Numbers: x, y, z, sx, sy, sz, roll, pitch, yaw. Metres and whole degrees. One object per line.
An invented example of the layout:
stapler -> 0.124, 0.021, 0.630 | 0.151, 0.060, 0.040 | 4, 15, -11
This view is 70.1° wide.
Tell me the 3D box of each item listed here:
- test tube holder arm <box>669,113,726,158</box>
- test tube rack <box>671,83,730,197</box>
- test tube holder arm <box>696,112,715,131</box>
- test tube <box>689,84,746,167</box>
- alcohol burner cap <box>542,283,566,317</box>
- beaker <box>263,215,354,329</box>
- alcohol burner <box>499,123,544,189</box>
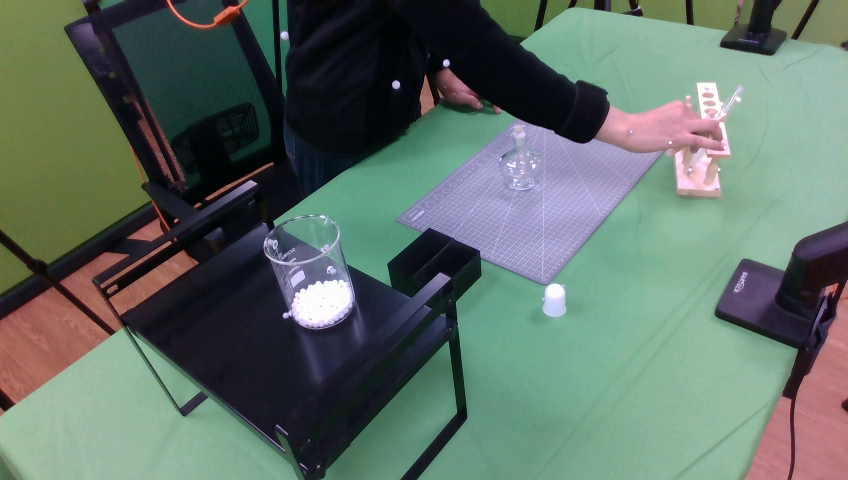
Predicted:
test tube holder arm -> 0.421, -0.162, 0.926 | 0.013, 0.015, 0.179 | 21, 39, 40
test tube rack -> 0.482, -0.184, 1.067 | 0.066, 0.085, 0.242 | 6, 42, 15
test tube holder arm -> 0.446, -0.183, 0.957 | 0.010, 0.015, 0.088 | 14, 36, 32
test tube -> 0.484, -0.187, 1.005 | 0.017, 0.150, 0.017 | 20, 25, -10
alcohol burner cap -> 0.182, 0.081, 0.839 | 0.034, 0.048, 0.033 | -4, 41, 4
beaker -> -0.112, 0.034, 0.616 | 0.073, 0.101, 0.084 | 13, 44, 23
alcohol burner -> 0.169, -0.149, 1.048 | 0.078, 0.119, 0.077 | -6, 41, 5
